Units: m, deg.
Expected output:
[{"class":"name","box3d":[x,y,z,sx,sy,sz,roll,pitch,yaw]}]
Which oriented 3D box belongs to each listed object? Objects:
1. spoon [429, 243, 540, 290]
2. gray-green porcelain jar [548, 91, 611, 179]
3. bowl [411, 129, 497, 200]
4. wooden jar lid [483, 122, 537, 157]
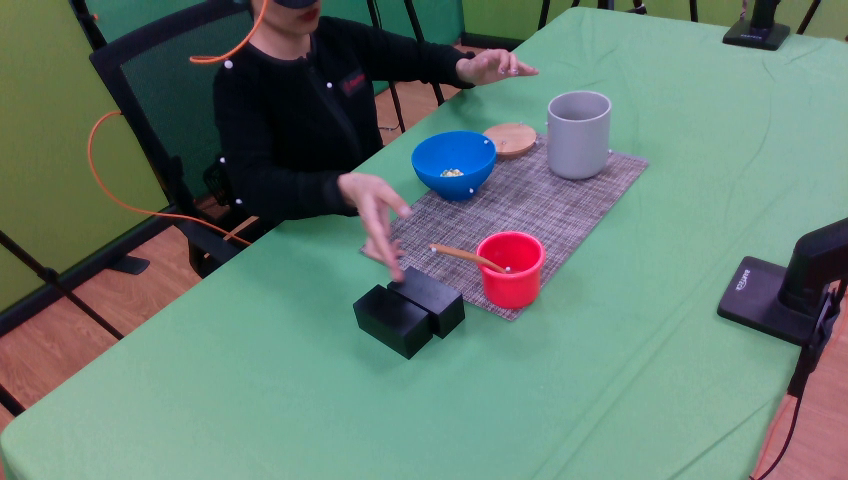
[{"class":"spoon","box3d":[0.086,0.033,0.826,0.195,0.021,0.041,23,26,-33]},{"class":"gray-green porcelain jar","box3d":[0.269,-0.179,1.056,0.106,0.127,0.105,-6,40,5]},{"class":"bowl","box3d":[0.056,-0.124,1.070,0.151,0.077,0.150,-6,40,5]},{"class":"wooden jar lid","box3d":[0.165,-0.195,1.177,0.108,0.021,0.108,-4,40,4]}]
